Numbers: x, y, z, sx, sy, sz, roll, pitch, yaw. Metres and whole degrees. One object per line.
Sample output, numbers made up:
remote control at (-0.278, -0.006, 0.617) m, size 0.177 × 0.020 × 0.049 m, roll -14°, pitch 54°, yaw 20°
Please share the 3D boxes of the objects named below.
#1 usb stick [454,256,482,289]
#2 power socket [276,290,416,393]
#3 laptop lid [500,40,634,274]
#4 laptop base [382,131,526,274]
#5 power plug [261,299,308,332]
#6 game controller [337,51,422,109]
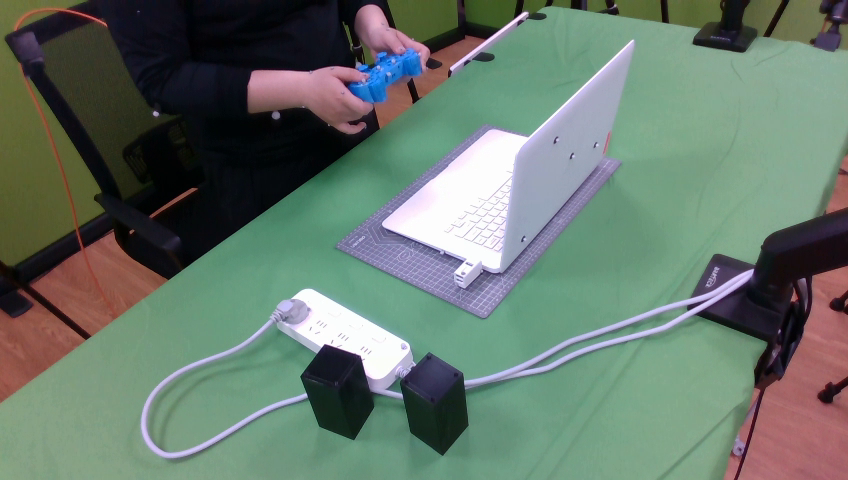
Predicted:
usb stick at (0.069, 0.044, 0.891) m, size 0.021 × 0.027 × 0.059 m, roll 22°, pitch 44°, yaw 32°
power socket at (-0.114, 0.133, 0.821) m, size 0.225 × 0.033 × 0.072 m, roll 24°, pitch 48°, yaw 32°
laptop lid at (0.218, -0.128, 0.906) m, size 0.013 × 0.242 × 0.358 m, roll 28°, pitch 50°, yaw 25°
laptop base at (0.123, -0.081, 1.049) m, size 0.233 × 0.023 × 0.355 m, roll 20°, pitch 47°, yaw 33°
power plug at (-0.193, 0.109, 0.830) m, size 0.073 × 0.053 × 0.035 m, roll -35°, pitch 47°, yaw -23°
game controller at (-0.074, -0.276, 1.024) m, size 0.096 × 0.052 × 0.155 m, roll 15°, pitch 48°, yaw 41°
